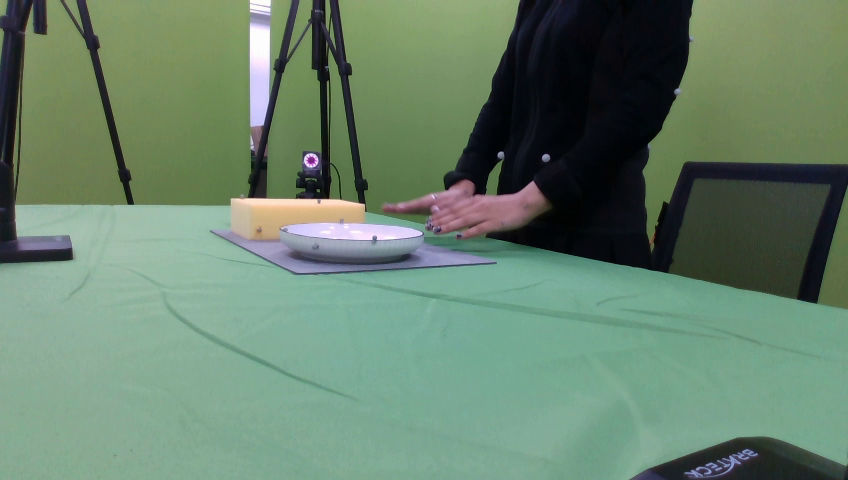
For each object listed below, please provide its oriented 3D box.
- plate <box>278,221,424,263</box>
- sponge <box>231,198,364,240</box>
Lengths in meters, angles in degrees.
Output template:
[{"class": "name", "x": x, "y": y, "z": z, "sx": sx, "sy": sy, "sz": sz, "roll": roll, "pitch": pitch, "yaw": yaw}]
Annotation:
[{"class": "plate", "x": -0.103, "y": 0.003, "z": 0.871, "sx": 0.209, "sy": 0.038, "sz": 0.209, "roll": 2, "pitch": 7, "yaw": 0}, {"class": "sponge", "x": -0.223, "y": -0.040, "z": 1.071, "sx": 0.208, "sy": 0.061, "sz": 0.117, "roll": -3, "pitch": 9, "yaw": -33}]
